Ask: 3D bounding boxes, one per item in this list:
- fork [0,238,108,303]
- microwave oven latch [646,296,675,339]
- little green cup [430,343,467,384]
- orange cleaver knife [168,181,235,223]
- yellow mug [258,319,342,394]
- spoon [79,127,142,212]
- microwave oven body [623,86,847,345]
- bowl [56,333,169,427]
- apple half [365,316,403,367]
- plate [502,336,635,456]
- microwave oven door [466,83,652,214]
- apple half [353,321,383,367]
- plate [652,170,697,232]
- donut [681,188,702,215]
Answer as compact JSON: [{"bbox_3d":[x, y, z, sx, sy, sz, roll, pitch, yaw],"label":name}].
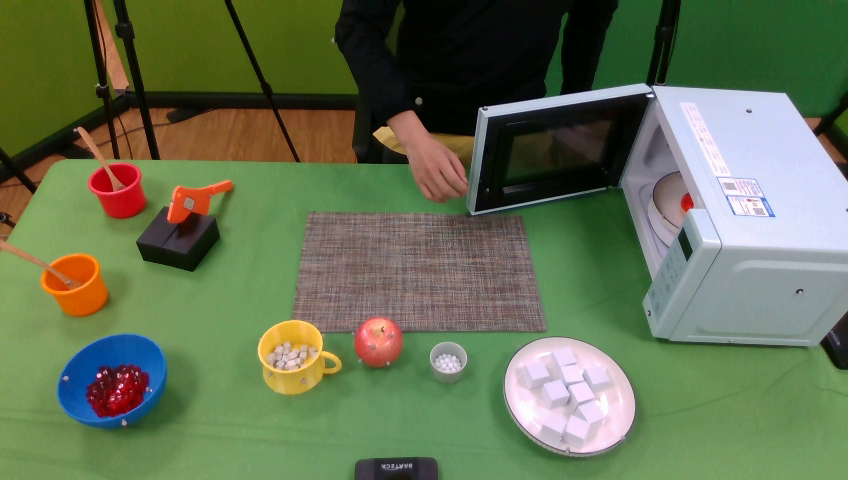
[{"bbox_3d":[-0.633,0.048,1.017,0.208,0.018,0.028,40,41,-27],"label":"fork"},{"bbox_3d":[0.412,0.134,1.061,0.030,0.029,0.078,3,45,0],"label":"microwave oven latch"},{"bbox_3d":[0.039,0.203,0.994,0.061,0.039,0.061,2,46,-2],"label":"little green cup"},{"bbox_3d":[-0.436,-0.078,1.196,0.012,0.077,0.211,16,15,10],"label":"orange cleaver knife"},{"bbox_3d":[-0.195,0.188,0.972,0.131,0.064,0.099,9,47,4],"label":"yellow mug"},{"bbox_3d":[-0.624,-0.140,1.203,0.041,0.021,0.194,-33,100,-26],"label":"spoon"},{"bbox_3d":[0.567,-0.053,1.118,0.326,0.261,0.439,2,45,-1],"label":"microwave oven body"},{"bbox_3d":[-0.456,0.223,0.912,0.151,0.077,0.150,3,46,-2],"label":"bowl"},{"bbox_3d":[-0.063,0.165,1.000,0.053,0.075,0.080,-16,45,-24],"label":"apple half"},{"bbox_3d":[0.225,0.248,0.963,0.208,0.039,0.206,2,46,-2],"label":"plate"},{"bbox_3d":[0.265,-0.183,1.216,0.356,0.245,0.039,-12,48,-15],"label":"microwave oven door"},{"bbox_3d":[-0.098,0.177,0.984,0.033,0.081,0.081,-17,49,-25],"label":"apple half"},{"bbox_3d":[0.555,-0.059,1.196,0.209,0.038,0.208,2,46,-2],"label":"plate"},{"bbox_3d":[0.554,-0.065,1.185,0.099,0.048,0.098,1,44,-1],"label":"donut"}]
